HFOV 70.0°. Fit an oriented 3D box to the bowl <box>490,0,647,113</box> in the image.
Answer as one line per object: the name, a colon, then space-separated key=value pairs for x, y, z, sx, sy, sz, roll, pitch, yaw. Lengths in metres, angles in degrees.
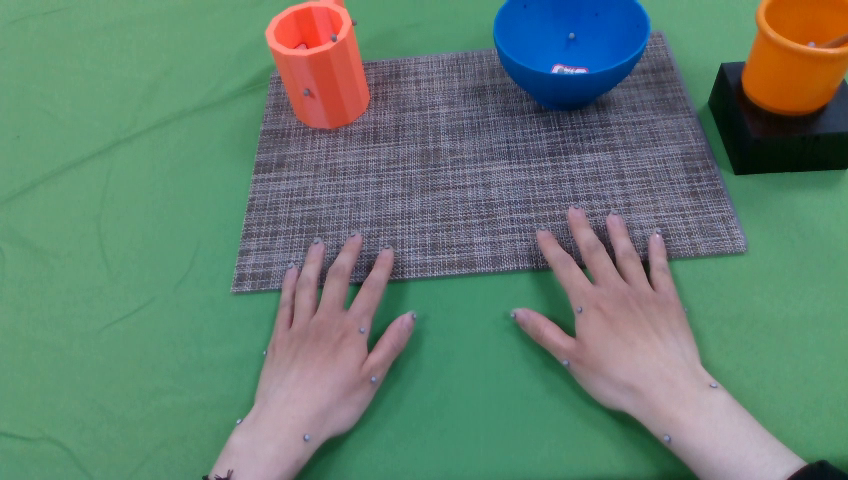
bowl: x=0.143 y=-0.185 z=0.619 sx=0.151 sy=0.077 sz=0.150 roll=-3 pitch=55 yaw=5

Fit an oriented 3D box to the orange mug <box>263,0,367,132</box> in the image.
orange mug: x=-0.108 y=-0.194 z=0.644 sx=0.083 sy=0.102 sz=0.125 roll=6 pitch=60 yaw=11

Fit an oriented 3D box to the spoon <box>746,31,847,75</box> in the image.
spoon: x=0.346 y=-0.162 z=0.478 sx=0.041 sy=0.193 sz=0.022 roll=-35 pitch=101 yaw=-20
